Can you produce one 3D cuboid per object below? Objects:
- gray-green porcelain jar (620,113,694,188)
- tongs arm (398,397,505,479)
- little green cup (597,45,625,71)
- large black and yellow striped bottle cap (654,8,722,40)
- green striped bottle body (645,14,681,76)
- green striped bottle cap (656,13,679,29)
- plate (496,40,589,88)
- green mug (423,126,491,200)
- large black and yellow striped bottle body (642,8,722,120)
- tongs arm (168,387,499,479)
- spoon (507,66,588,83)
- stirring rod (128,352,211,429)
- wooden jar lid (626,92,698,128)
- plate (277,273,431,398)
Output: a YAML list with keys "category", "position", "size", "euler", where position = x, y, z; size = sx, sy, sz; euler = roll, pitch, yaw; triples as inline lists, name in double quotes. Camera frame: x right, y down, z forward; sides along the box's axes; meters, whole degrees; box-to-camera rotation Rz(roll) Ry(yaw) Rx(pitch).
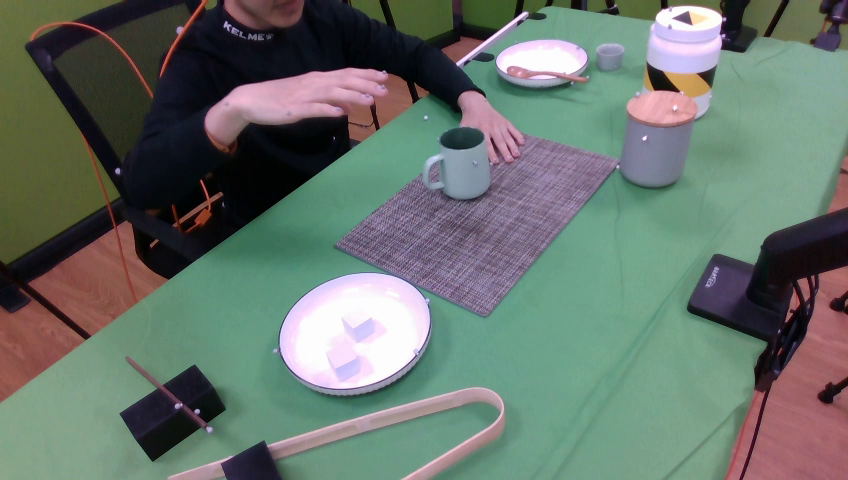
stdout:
- category: "gray-green porcelain jar"
  position: [0.390, -0.160, 1.020]
  size: [0.106, 0.127, 0.105]
  euler: [-4, 41, 4]
- category: "tongs arm"
  position: [-0.072, 0.272, 0.652]
  size: [0.386, 0.026, 0.050]
  euler: [-21, 37, -17]
- category: "little green cup"
  position: [0.422, -0.413, 1.375]
  size: [0.061, 0.039, 0.061]
  euler: [-3, 41, 3]
- category: "large black and yellow striped bottle cap"
  position: [0.483, -0.397, 1.108]
  size: [0.115, 0.019, 0.114]
  euler: [-3, 41, 3]
- category: "green striped bottle body"
  position: [0.520, -0.424, 1.312]
  size: [0.063, 0.120, 0.063]
  euler: [-4, 41, 4]
- category: "green striped bottle cap"
  position: [0.515, -0.463, 1.278]
  size: [0.044, 0.020, 0.044]
  euler: [-6, 42, 6]
- category: "plate"
  position: [0.268, -0.398, 1.381]
  size: [0.209, 0.038, 0.208]
  euler: [-4, 41, 4]
- category: "green mug"
  position: [0.055, -0.125, 1.039]
  size: [0.126, 0.105, 0.091]
  euler: [-25, 44, -19]
- category: "large black and yellow striped bottle body"
  position: [0.493, -0.334, 1.161]
  size: [0.131, 0.185, 0.130]
  euler: [-4, 41, 4]
- category: "tongs arm"
  position: [-0.100, 0.231, 0.711]
  size: [0.388, 0.028, 0.028]
  euler: [-13, 32, -7]
- category: "spoon"
  position: [0.265, -0.357, 1.311]
  size: [0.192, 0.022, 0.042]
  euler: [18, 47, 38]
- category: "stirring rod"
  position: [-0.310, 0.180, 0.732]
  size: [0.175, 0.014, 0.006]
  euler: [26, 55, 32]
- category: "wooden jar lid"
  position: [0.384, -0.207, 0.980]
  size: [0.108, 0.021, 0.108]
  euler: [-6, 39, 5]
- category: "plate"
  position: [-0.091, 0.129, 0.821]
  size: [0.207, 0.039, 0.206]
  euler: [-4, 40, 4]
